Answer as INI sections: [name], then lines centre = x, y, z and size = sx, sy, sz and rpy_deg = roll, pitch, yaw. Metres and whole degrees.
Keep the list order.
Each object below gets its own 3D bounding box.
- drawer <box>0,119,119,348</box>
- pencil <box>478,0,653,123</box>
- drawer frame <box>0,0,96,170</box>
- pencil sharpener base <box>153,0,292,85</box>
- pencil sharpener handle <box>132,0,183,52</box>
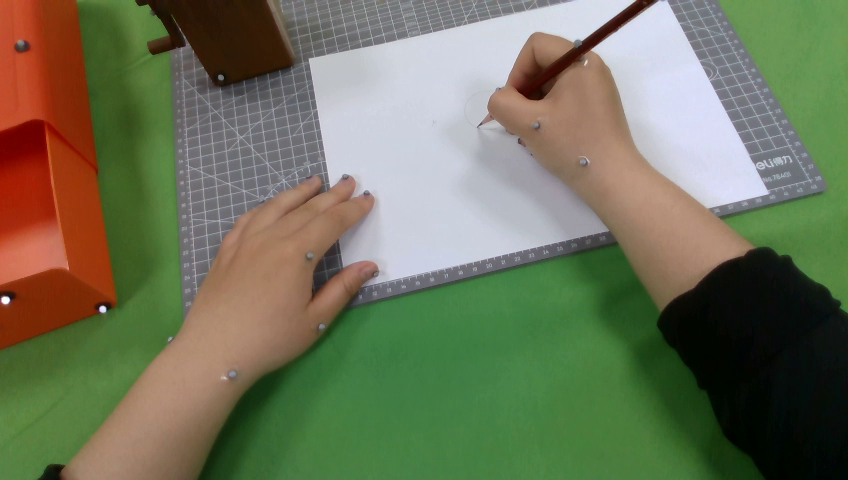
[drawer]
centre = -0.337, -0.019, 0.423
size = 0.194, 0.074, 0.210
rpy_deg = -21, 65, -4
[pencil]
centre = 0.090, -0.116, 0.379
size = 0.012, 0.194, 0.012
rpy_deg = 11, 68, -29
[drawer frame]
centre = -0.379, -0.118, 0.470
size = 0.202, 0.083, 0.211
rpy_deg = -21, 64, -4
[pencil sharpener base]
centre = -0.155, -0.180, 0.461
size = 0.077, 0.108, 0.061
rpy_deg = -19, 65, -3
[pencil sharpener handle]
centre = -0.204, -0.168, 0.447
size = 0.030, 0.068, 0.035
rpy_deg = -19, 62, -3
